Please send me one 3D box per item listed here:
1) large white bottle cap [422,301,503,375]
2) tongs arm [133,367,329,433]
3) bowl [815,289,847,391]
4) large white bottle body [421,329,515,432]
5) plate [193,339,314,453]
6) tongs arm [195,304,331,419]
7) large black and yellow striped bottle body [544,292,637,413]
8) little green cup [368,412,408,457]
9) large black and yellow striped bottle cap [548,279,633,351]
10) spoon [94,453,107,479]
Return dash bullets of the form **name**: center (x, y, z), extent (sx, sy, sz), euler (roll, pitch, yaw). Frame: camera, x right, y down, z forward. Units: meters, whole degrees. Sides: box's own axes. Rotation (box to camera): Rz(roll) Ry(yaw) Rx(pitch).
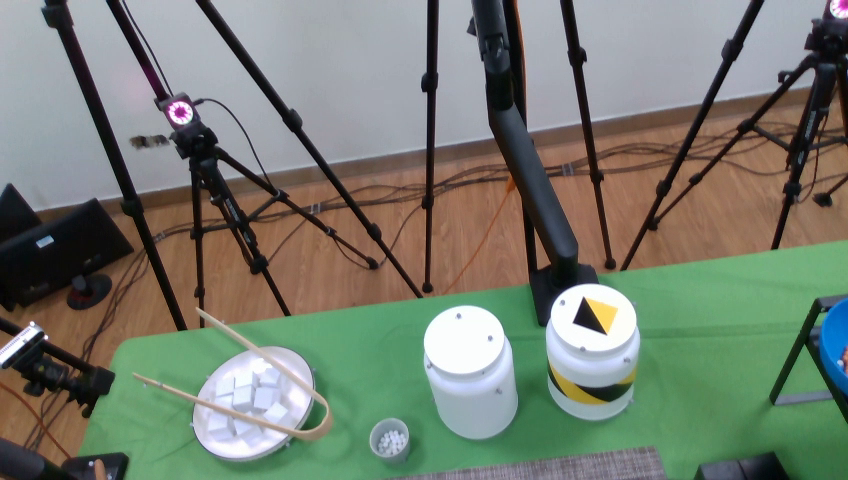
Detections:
- **large white bottle cap**: center (0.054, 0.136, 0.853), extent (0.115, 0.018, 0.113), euler (-6, 47, 7)
- **tongs arm**: center (-0.330, 0.253, 1.004), extent (0.382, 0.027, 0.050), euler (12, 48, 25)
- **bowl**: center (0.524, 0.135, 0.693), extent (0.151, 0.077, 0.150), euler (-6, 47, 7)
- **large white bottle body**: center (0.068, 0.192, 0.915), extent (0.130, 0.186, 0.129), euler (-6, 47, 7)
- **plate**: center (-0.284, 0.264, 1.028), extent (0.207, 0.039, 0.205), euler (-6, 47, 7)
- **tongs arm**: center (-0.288, 0.197, 1.048), extent (0.384, 0.028, 0.028), euler (25, 51, 33)
- **large black and yellow striped bottle body**: center (0.246, 0.161, 0.907), extent (0.130, 0.186, 0.129), euler (-6, 47, 7)
- **little green cup**: center (-0.053, 0.304, 0.940), extent (0.061, 0.039, 0.061), euler (-6, 48, 7)
- **large black and yellow striped bottle cap**: center (0.231, 0.103, 0.847), extent (0.115, 0.019, 0.114), euler (-5, 47, 6)
- **spoon**: center (-0.446, 0.400, 0.862), extent (0.041, 0.194, 0.021), euler (-11, 2, 1)
